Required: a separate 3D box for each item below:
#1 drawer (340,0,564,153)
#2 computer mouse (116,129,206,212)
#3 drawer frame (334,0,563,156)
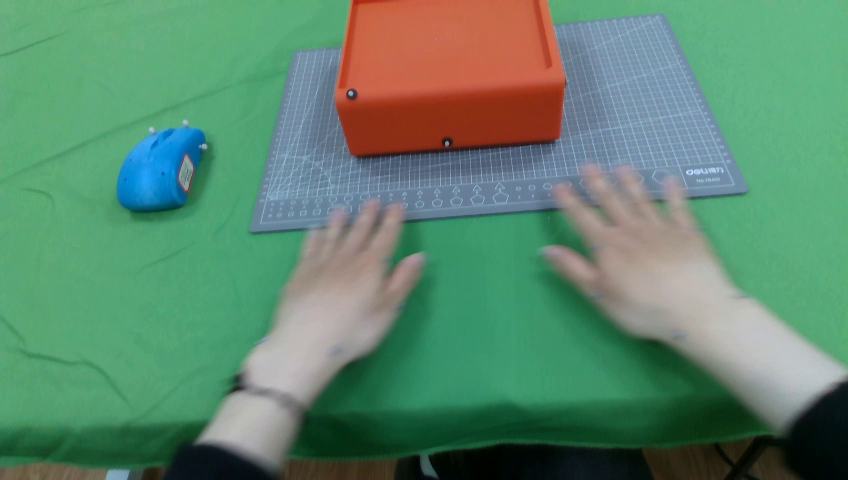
[{"bbox_3d":[0.029,-0.184,0.633,0.211,0.074,0.192,-4,51,6],"label":"drawer"},{"bbox_3d":[-0.268,-0.078,0.619,0.063,0.041,0.116,-5,45,6],"label":"computer mouse"},{"bbox_3d":[0.027,-0.185,0.632,0.213,0.083,0.199,-5,50,5],"label":"drawer frame"}]
